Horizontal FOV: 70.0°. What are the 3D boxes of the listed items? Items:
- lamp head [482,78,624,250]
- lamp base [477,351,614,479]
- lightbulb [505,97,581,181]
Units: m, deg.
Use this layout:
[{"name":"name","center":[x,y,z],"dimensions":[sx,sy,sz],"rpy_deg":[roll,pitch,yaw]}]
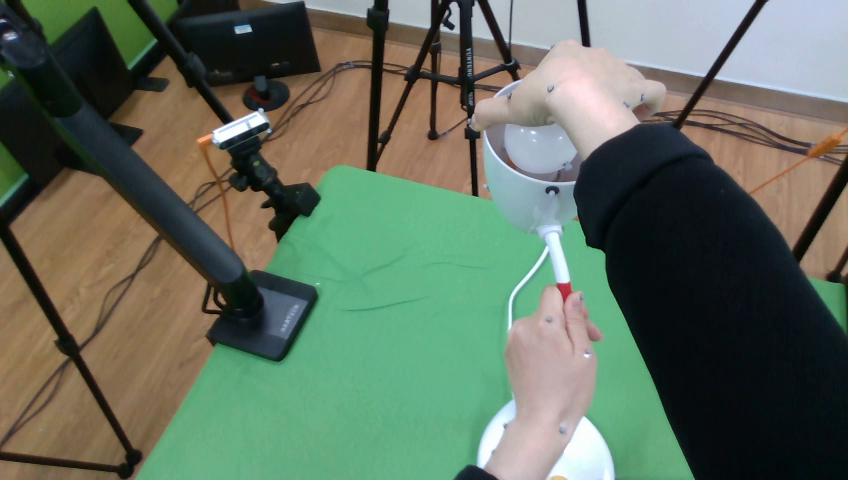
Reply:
[{"name":"lamp head","center":[0.103,-0.055,0.520],"dimensions":[0.112,0.124,0.111],"rpy_deg":[-1,53,2]},{"name":"lamp base","center":[0.134,0.211,0.663],"dimensions":[0.161,0.182,0.177],"rpy_deg":[-21,53,-12]},{"name":"lightbulb","center":[0.097,-0.072,0.502],"dimensions":[0.059,0.108,0.059],"rpy_deg":[-3,62,5]}]
